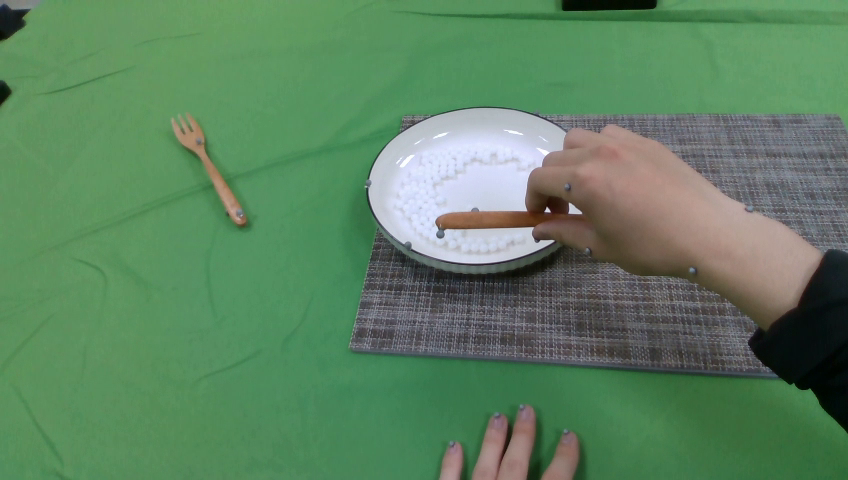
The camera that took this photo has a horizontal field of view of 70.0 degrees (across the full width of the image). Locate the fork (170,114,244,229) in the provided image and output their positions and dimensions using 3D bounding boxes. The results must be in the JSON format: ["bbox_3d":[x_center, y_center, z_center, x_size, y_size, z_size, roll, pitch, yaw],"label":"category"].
[{"bbox_3d":[-0.231,-0.077,0.644,0.028,0.019,0.205,-24,49,-21],"label":"fork"}]

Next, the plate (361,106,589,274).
[{"bbox_3d":[0.046,-0.048,0.568,0.207,0.039,0.205,-3,50,4],"label":"plate"}]

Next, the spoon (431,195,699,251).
[{"bbox_3d":[0.102,-0.014,0.442,0.194,0.021,0.041,1,85,-5],"label":"spoon"}]
